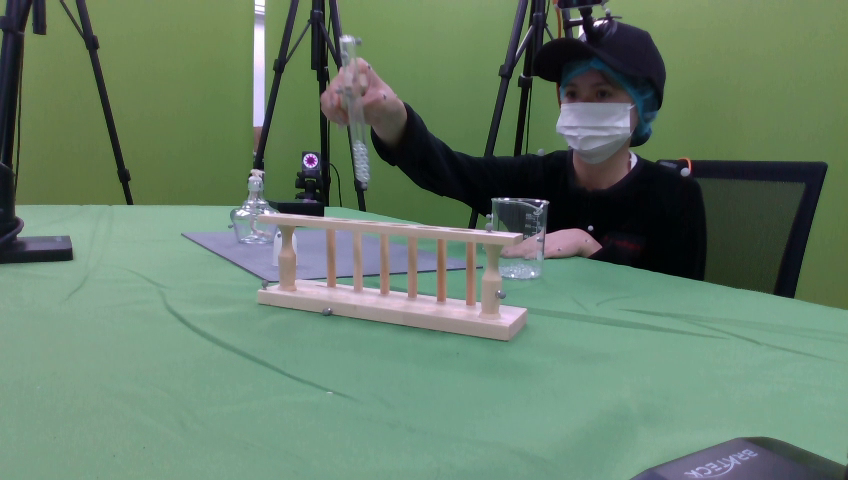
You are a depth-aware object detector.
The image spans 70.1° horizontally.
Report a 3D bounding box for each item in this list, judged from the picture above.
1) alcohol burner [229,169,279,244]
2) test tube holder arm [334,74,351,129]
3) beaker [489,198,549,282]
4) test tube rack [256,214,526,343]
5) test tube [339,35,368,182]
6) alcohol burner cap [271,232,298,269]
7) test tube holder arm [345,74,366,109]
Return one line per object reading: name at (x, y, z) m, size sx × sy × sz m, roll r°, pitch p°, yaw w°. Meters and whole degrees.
alcohol burner at (-0.268, -0.053, 0.958) m, size 0.078 × 0.119 × 0.078 m, roll 2°, pitch 5°, yaw 0°
test tube holder arm at (-0.094, -0.155, 0.690) m, size 0.013 × 0.015 × 0.178 m, roll -4°, pitch -2°, yaw -13°
beaker at (0.120, -0.001, 0.768) m, size 0.074 × 0.100 × 0.083 m, roll -1°, pitch 9°, yaw -25°
test tube rack at (-0.032, 0.026, 0.547) m, size 0.241 × 0.085 × 0.067 m, roll 6°, pitch 8°, yaw 22°
test tube at (-0.073, -0.135, 0.628) m, size 0.017 × 0.150 × 0.017 m, roll -6°, pitch 5°, yaw 1°
alcohol burner cap at (-0.175, 0.012, 0.761) m, size 0.034 × 0.048 × 0.034 m, roll 2°, pitch 8°, yaw 0°
test tube holder arm at (-0.077, -0.158, 0.649) m, size 0.010 × 0.015 × 0.087 m, roll -4°, pitch -2°, yaw -20°
